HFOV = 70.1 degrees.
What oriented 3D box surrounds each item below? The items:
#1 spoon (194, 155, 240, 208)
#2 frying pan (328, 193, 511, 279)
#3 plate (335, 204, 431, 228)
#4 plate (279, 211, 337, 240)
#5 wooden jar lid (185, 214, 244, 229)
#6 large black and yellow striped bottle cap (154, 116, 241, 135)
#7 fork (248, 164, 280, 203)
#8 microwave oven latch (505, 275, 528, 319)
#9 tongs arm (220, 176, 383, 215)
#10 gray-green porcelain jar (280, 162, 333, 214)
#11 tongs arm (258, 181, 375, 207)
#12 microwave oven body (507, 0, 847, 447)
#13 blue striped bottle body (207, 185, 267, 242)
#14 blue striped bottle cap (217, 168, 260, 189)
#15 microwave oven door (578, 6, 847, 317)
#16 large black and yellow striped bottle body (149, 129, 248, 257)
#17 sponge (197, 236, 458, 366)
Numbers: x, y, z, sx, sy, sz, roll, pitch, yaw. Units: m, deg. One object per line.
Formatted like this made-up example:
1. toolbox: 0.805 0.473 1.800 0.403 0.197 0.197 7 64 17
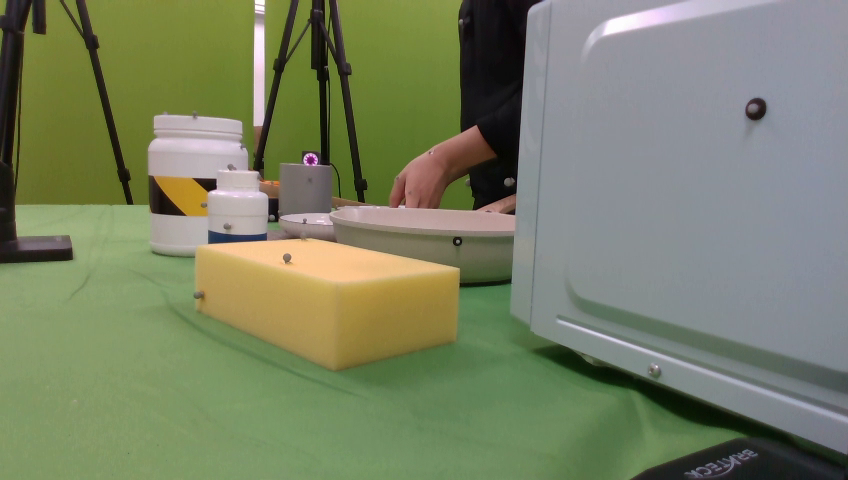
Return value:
1. spoon: -0.486 -0.134 1.415 0.041 0.021 0.194 7 -35 21
2. frying pan: 0.071 -0.030 0.883 0.305 0.102 0.490 7 17 28
3. plate: -0.089 -0.053 1.309 0.208 0.039 0.207 2 7 0
4. plate: -0.139 -0.022 1.021 0.209 0.038 0.209 2 8 0
5. wooden jar lid: -0.404 -0.037 1.169 0.108 0.020 0.108 3 7 0
6. large black and yellow striped bottle cap: -0.314 -0.158 0.843 0.115 0.019 0.115 3 7 0
7. fork: -0.398 -0.144 1.489 0.028 0.018 0.208 23 -23 47
8. microwave oven latch: 0.100 0.041 0.471 0.079 0.029 0.030 -1 7 -28
9. tongs arm: -0.285 -0.104 1.445 0.389 0.027 0.028 10 -4 -23
10. gray-green porcelain jar: -0.238 -0.092 1.221 0.106 0.126 0.106 2 7 0
11. tongs arm: -0.241 -0.095 1.373 0.387 0.026 0.050 9 0 -37
12. microwave oven body: 0.331 -0.042 0.425 0.444 0.260 0.324 -2 8 -31
13. blue striped bottle body: -0.204 -0.016 0.663 0.063 0.120 0.063 2 7 0
14. blue striped bottle cap: -0.202 -0.067 0.657 0.044 0.020 0.044 0 11 0
15. microwave oven door: 0.294 -0.067 0.570 0.358 0.243 0.039 -3 9 -31
16. large black and yellow striped bottle body: -0.315 -0.075 0.854 0.131 0.184 0.130 1 7 0
17. sponge: -0.087 0.039 0.500 0.206 0.061 0.119 8 10 44
